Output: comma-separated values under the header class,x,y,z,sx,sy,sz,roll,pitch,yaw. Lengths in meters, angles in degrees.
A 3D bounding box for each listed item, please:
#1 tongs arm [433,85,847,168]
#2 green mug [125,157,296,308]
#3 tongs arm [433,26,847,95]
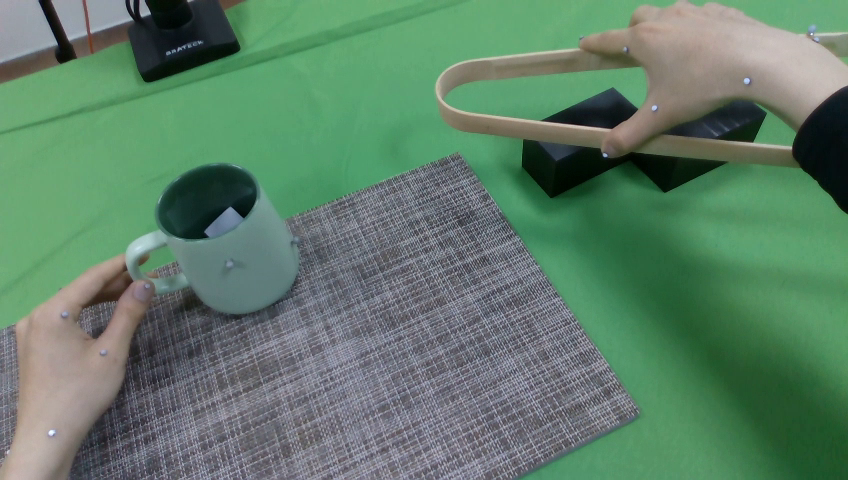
class,x,y,z,sx,sy,sz,roll,pitch,yaw
tongs arm,0.191,-0.089,0.492,0.386,0.028,0.028,10,69,14
green mug,-0.174,0.003,0.492,0.125,0.106,0.091,-24,56,-11
tongs arm,0.201,-0.151,0.525,0.384,0.027,0.050,0,64,9
